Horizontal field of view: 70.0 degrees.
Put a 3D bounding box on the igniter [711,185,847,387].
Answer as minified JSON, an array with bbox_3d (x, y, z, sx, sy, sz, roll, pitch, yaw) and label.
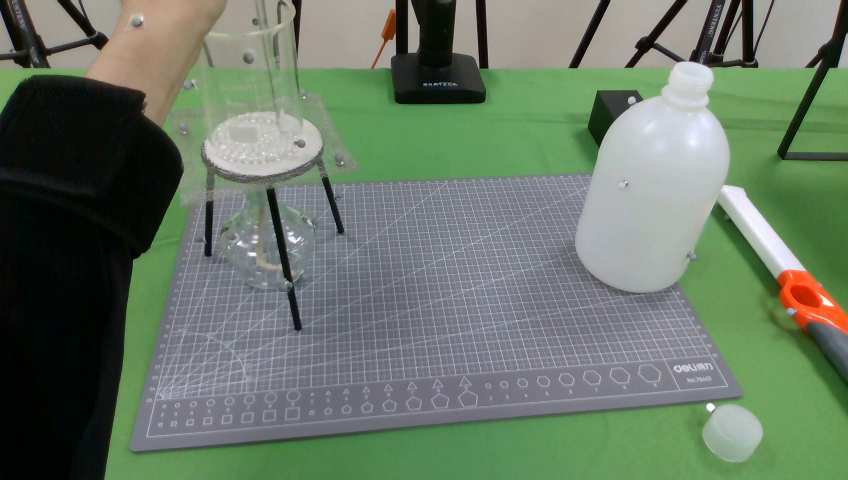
[{"bbox_3d":[0.333,0.039,0.548,0.057,0.025,0.273,6,40,-13],"label":"igniter"}]

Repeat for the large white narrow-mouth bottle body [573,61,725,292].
[{"bbox_3d":[0.192,-0.054,0.510,0.102,0.196,0.101,2,42,-1],"label":"large white narrow-mouth bottle body"}]

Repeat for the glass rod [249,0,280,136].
[{"bbox_3d":[-0.109,-0.161,0.381,0.008,0.201,0.008,-1,31,1],"label":"glass rod"}]

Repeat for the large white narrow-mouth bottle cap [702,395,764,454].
[{"bbox_3d":[0.224,0.134,0.439,0.038,0.024,0.037,2,42,-1],"label":"large white narrow-mouth bottle cap"}]

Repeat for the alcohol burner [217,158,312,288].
[{"bbox_3d":[-0.134,-0.018,0.505,0.078,0.120,0.077,4,40,-3],"label":"alcohol burner"}]

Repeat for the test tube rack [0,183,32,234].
[{"bbox_3d":[-0.475,-0.009,0.494,0.066,0.086,0.242,33,49,28],"label":"test tube rack"}]

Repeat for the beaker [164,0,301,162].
[{"bbox_3d":[-0.127,-0.112,0.425,0.084,0.101,0.073,-7,45,-12],"label":"beaker"}]

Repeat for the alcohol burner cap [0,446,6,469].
[{"bbox_3d":[-0.293,0.132,0.384,0.034,0.048,0.033,4,41,-3],"label":"alcohol burner cap"}]

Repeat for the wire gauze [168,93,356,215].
[{"bbox_3d":[-0.125,-0.074,0.456,0.122,0.011,0.123,-13,48,-16],"label":"wire gauze"}]

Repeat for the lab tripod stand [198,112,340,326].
[{"bbox_3d":[-0.124,-0.024,0.498,0.148,0.132,0.147,4,42,-3],"label":"lab tripod stand"}]
